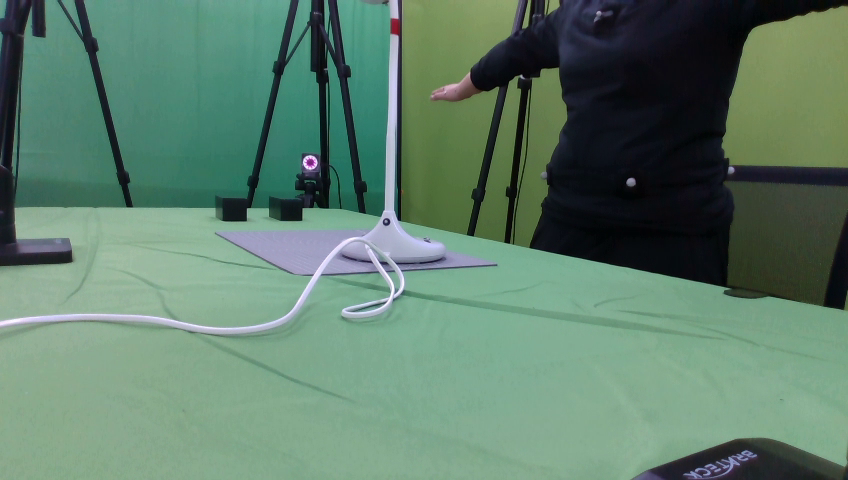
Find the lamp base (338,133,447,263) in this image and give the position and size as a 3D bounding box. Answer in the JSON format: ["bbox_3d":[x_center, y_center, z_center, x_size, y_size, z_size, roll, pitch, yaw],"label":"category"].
[{"bbox_3d":[-0.043,-0.062,0.868,0.161,0.180,0.179,2,10,-3],"label":"lamp base"}]

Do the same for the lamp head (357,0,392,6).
[{"bbox_3d":[-0.056,-0.383,0.819,0.113,0.112,0.122,0,13,-22],"label":"lamp head"}]
